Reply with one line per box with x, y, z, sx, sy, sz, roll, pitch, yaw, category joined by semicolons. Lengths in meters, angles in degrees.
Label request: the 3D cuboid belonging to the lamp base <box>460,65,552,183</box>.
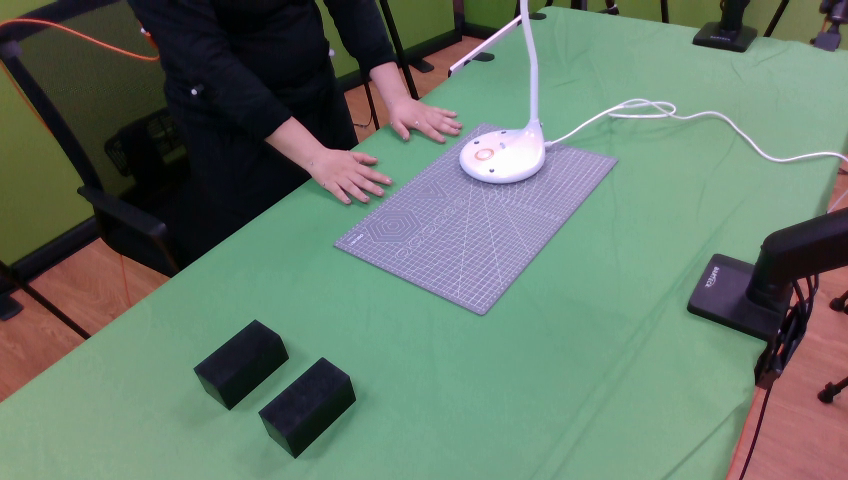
0.149;-0.218;1.078;0.180;0.181;0.159;-19;41;-17;lamp base
